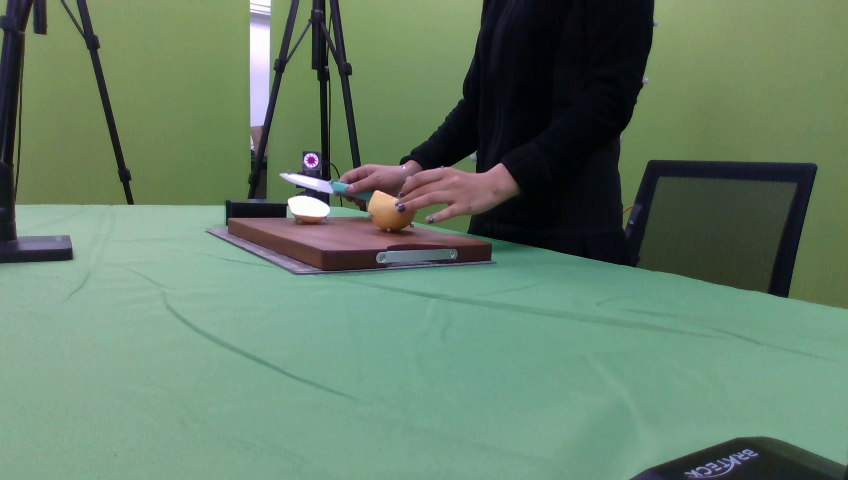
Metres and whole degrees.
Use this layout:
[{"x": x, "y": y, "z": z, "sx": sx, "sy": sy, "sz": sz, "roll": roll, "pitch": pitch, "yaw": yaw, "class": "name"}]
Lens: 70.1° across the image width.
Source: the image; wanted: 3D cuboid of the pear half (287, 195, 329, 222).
[{"x": -0.203, "y": -0.048, "z": 1.040, "sx": 0.070, "sy": 0.031, "sz": 0.088, "roll": 20, "pitch": 28, "yaw": 13, "class": "pear half"}]

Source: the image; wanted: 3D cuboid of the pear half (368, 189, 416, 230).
[{"x": -0.048, "y": -0.043, "z": 0.955, "sx": 0.077, "sy": 0.056, "sz": 0.109, "roll": 21, "pitch": -5, "yaw": -23, "class": "pear half"}]

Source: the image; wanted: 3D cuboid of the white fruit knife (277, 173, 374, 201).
[{"x": -0.172, "y": -0.098, "z": 1.118, "sx": 0.208, "sy": 0.027, "sz": 0.016, "roll": 11, "pitch": -26, "yaw": -32, "class": "white fruit knife"}]
